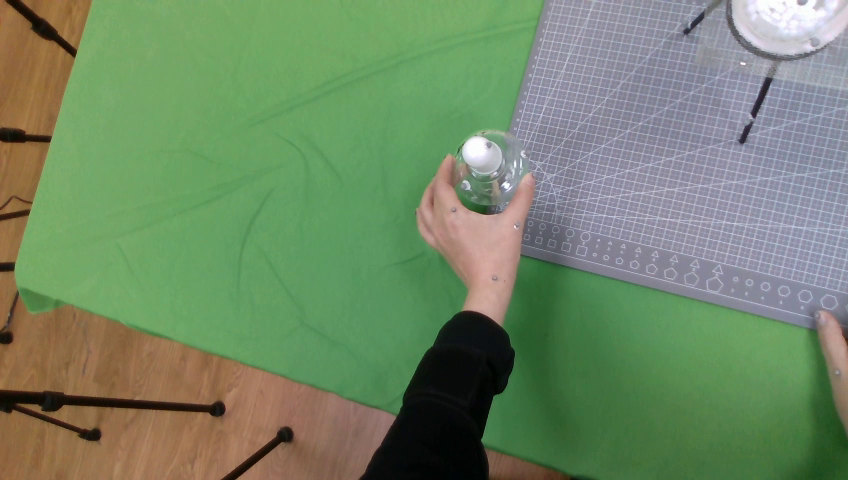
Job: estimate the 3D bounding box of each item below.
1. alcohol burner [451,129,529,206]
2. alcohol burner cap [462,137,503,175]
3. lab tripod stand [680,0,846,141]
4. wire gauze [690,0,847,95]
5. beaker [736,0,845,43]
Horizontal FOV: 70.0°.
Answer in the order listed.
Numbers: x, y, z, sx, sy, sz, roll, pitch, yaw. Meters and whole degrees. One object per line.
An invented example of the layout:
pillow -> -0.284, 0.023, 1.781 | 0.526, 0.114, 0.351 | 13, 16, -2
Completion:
alcohol burner -> 0.061, -0.074, 0.581 | 0.078, 0.119, 0.077 | -2, 83, 14
alcohol burner cap -> 0.051, -0.078, 0.547 | 0.034, 0.048, 0.034 | -1, 88, 17
lab tripod stand -> 0.301, -0.176, 0.539 | 0.148, 0.132, 0.148 | -1, 85, 14
wire gauze -> 0.284, -0.185, 0.476 | 0.124, 0.011, 0.121 | 14, 91, 13
beaker -> 0.267, -0.192, 0.431 | 0.083, 0.101, 0.074 | 28, 92, 17
